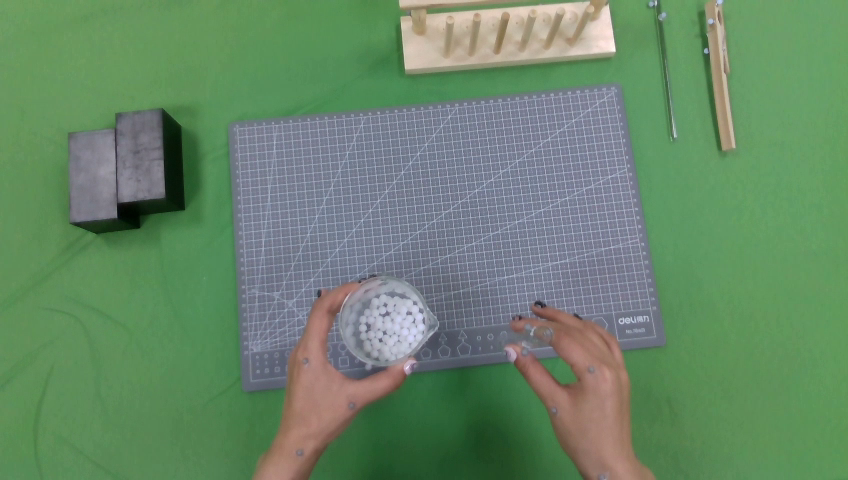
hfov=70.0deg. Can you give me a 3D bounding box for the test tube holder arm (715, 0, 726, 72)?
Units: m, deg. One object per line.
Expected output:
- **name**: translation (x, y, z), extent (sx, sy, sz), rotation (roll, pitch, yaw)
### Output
- **test tube holder arm**: translation (0.338, -0.235, 0.702), extent (0.010, 0.015, 0.087), rotation (6, 78, -28)

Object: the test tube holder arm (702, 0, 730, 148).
- **test tube holder arm**: translation (0.333, -0.191, 0.692), extent (0.013, 0.015, 0.177), rotation (6, 78, -28)

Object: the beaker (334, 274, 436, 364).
- **beaker**: translation (-0.031, 0.074, 0.541), extent (0.084, 0.100, 0.073), rotation (3, 79, 1)

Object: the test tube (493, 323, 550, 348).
- **test tube**: translation (0.080, 0.083, 0.519), extent (0.017, 0.150, 0.017), rotation (1, 79, -5)

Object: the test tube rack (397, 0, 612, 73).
- **test tube rack**: translation (0.093, -0.244, 0.671), extent (0.242, 0.085, 0.066), rotation (-5, 79, -1)

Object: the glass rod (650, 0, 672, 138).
- **glass rod**: translation (0.274, -0.213, 0.704), extent (0.008, 0.008, 0.199), rotation (-2, 80, 0)
